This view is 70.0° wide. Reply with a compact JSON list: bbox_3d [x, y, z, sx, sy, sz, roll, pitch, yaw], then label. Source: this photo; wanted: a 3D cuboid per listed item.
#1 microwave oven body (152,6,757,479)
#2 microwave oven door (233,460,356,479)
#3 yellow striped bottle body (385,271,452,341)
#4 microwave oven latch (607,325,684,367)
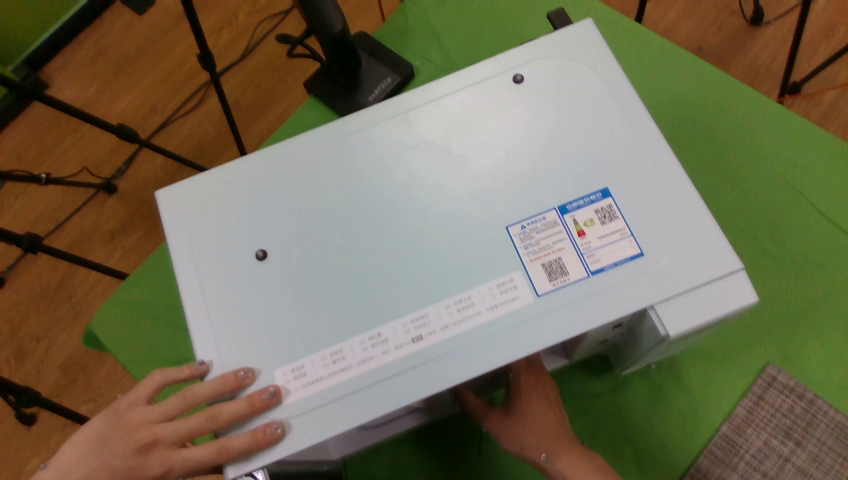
[{"bbox_3d":[0.016,0.023,0.628,0.442,0.262,0.323,-23,70,0],"label":"microwave oven body"},{"bbox_3d":[0.017,0.302,0.526,0.354,0.245,0.039,27,76,15],"label":"microwave oven door"},{"bbox_3d":[-0.005,0.068,0.623,0.063,0.121,0.062,-1,76,5],"label":"yellow striped bottle body"},{"bbox_3d":[0.246,0.114,0.672,0.079,0.030,0.030,-21,70,0],"label":"microwave oven latch"}]
